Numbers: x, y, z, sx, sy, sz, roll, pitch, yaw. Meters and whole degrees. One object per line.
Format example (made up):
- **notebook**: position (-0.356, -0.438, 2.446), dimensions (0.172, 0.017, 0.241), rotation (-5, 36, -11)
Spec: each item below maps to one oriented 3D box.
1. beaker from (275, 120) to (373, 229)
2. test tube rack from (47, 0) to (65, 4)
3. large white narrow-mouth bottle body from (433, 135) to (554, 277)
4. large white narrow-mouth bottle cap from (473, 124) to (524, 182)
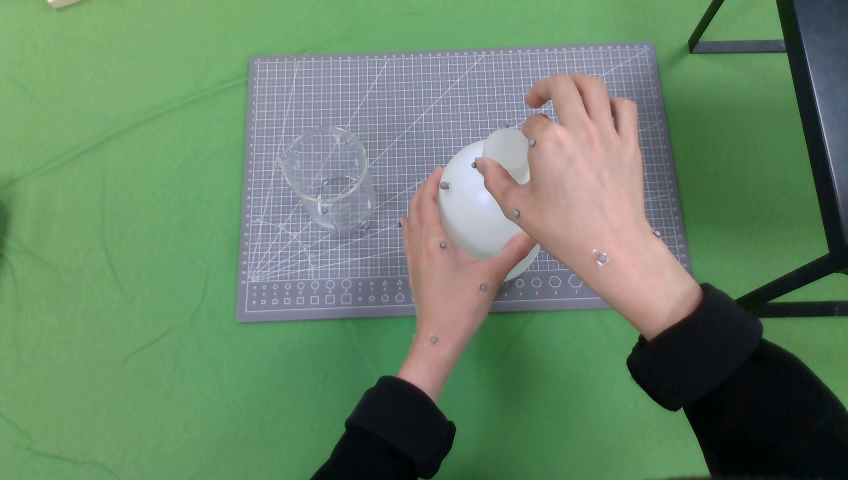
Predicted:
- **beaker**: position (-0.090, -0.057, 0.579), dimensions (0.084, 0.101, 0.073), rotation (8, 73, 4)
- **test tube rack**: position (-0.334, -0.358, 0.681), dimensions (0.242, 0.085, 0.066), rotation (-23, 74, -6)
- **large white narrow-mouth bottle body**: position (0.059, -0.034, 0.523), dimensions (0.102, 0.195, 0.101), rotation (-1, 74, 2)
- **large white narrow-mouth bottle cap**: position (0.053, -0.061, 0.432), dimensions (0.038, 0.024, 0.037), rotation (0, 74, 2)
